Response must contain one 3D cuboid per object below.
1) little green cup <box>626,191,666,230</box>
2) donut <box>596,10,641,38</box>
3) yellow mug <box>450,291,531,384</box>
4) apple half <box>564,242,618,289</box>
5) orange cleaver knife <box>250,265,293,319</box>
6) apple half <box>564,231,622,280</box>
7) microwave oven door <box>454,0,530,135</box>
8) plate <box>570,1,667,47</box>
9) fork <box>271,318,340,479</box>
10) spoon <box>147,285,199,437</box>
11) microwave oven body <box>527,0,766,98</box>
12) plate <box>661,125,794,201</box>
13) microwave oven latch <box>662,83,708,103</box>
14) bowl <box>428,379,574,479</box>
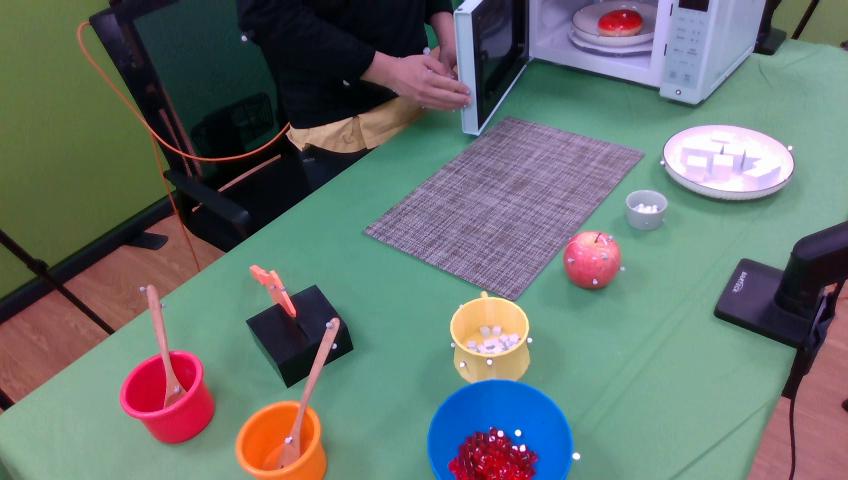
[{"bbox_3d":[0.352,-0.046,0.963,0.061,0.039,0.061,-4,40,4],"label":"little green cup"},{"bbox_3d":[0.433,-0.479,1.347,0.099,0.048,0.098,-5,40,5],"label":"donut"},{"bbox_3d":[0.085,0.120,0.786,0.100,0.064,0.130,-7,39,1],"label":"yellow mug"},{"bbox_3d":[0.229,0.044,0.848,0.081,0.081,0.033,16,41,26],"label":"apple half"},{"bbox_3d":[-0.221,0.073,0.876,0.012,0.077,0.210,-23,12,-22],"label":"orange cleaver knife"},{"bbox_3d":[0.248,0.021,0.874,0.080,0.075,0.053,14,40,28],"label":"apple half"},{"bbox_3d":[0.149,-0.411,1.238,0.039,0.245,0.356,12,44,22],"label":"microwave oven door"},{"bbox_3d":[0.437,-0.484,1.368,0.209,0.038,0.208,-5,41,4],"label":"plate"},{"bbox_3d":[-0.131,0.186,0.676,0.028,0.019,0.207,17,90,28],"label":"fork"},{"bbox_3d":[-0.318,0.148,0.754,0.042,0.021,0.193,-14,85,-10],"label":"spoon"},{"bbox_3d":[0.472,-0.513,1.317,0.438,0.261,0.327,25,51,34],"label":"microwave oven body"},{"bbox_3d":[0.514,-0.128,1.035,0.207,0.039,0.206,-4,40,4],"label":"plate"},{"bbox_3d":[0.518,-0.296,1.204,0.078,0.029,0.030,28,52,35],"label":"microwave oven latch"},{"bbox_3d":[0.082,0.233,0.644,0.151,0.077,0.150,-4,39,4],"label":"bowl"}]
